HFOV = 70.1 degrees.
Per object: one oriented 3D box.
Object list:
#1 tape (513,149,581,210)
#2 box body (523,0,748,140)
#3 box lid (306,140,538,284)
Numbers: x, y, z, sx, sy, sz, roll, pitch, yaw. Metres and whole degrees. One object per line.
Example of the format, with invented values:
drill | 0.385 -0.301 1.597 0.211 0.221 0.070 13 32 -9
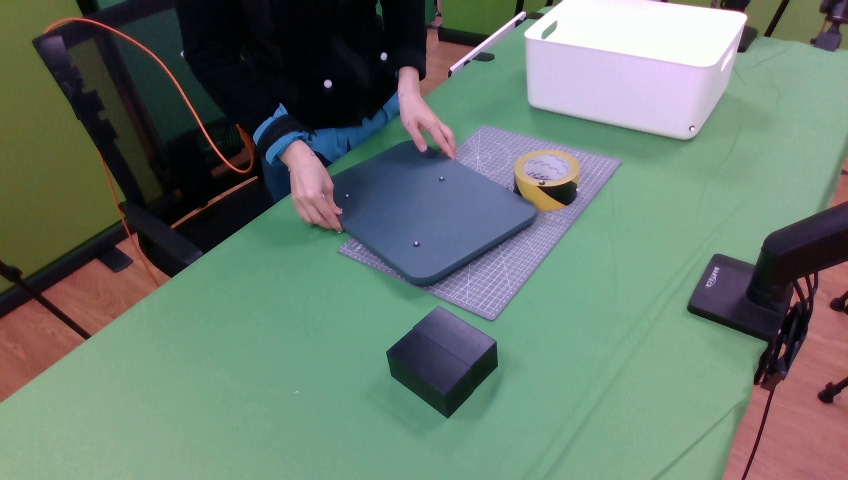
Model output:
tape | 0.208 -0.104 1.032 0.117 0.053 0.116 -4 40 4
box body | 0.412 -0.354 1.212 0.361 0.161 0.254 20 48 29
box lid | -0.014 -0.065 1.042 0.264 0.015 0.368 -30 42 -25
